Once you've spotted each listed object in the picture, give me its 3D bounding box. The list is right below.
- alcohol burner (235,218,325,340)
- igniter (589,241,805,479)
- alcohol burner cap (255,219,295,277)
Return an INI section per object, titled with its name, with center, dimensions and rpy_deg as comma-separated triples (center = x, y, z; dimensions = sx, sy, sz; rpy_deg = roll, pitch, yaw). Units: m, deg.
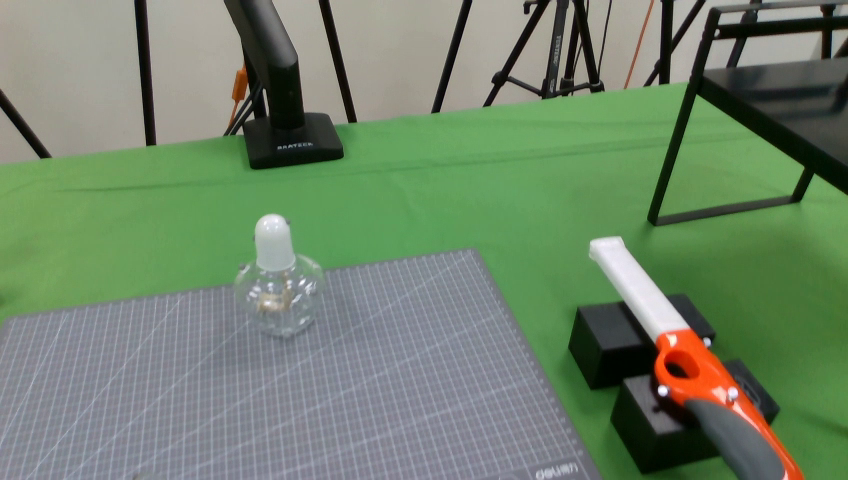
[alcohol burner]
center = -0.126, 0.029, 0.525
dimensions = 0.078, 0.120, 0.077
rpy_deg = 3, 38, -2
[igniter]
center = 0.194, 0.087, 0.464
dimensions = 0.057, 0.025, 0.273
rpy_deg = -8, 36, -7
[alcohol burner cap]
center = -0.126, 0.004, 0.507
dimensions = 0.034, 0.048, 0.033
rpy_deg = 3, 36, -2
